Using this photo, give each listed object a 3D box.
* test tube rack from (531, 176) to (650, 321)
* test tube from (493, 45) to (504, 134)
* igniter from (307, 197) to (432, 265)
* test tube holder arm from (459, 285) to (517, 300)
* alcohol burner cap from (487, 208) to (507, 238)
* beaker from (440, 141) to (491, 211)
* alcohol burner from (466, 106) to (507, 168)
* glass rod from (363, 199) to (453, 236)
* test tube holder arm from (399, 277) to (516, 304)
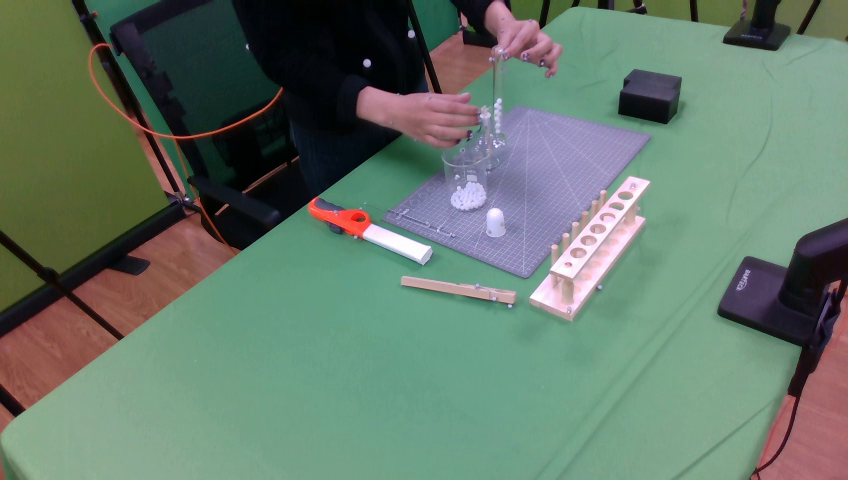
[{"bbox_3d":[0.246,0.002,0.884,0.066,0.085,0.243,22,49,32],"label":"test tube rack"},{"bbox_3d":[0.118,-0.236,0.964,0.017,0.151,0.017,-3,41,3],"label":"test tube"},{"bbox_3d":[-0.102,-0.020,1.019,0.274,0.025,0.057,23,60,32],"label":"igniter"},{"bbox_3d":[0.091,0.078,0.877,0.087,0.015,0.010,7,8,19],"label":"test tube holder arm"},{"bbox_3d":[0.116,-0.030,0.975,0.034,0.048,0.033,-6,40,5],"label":"alcohol burner cap"},{"bbox_3d":[0.074,-0.106,1.028,0.084,0.101,0.073,-2,41,8],"label":"beaker"},{"bbox_3d":[0.115,-0.193,1.112,0.078,0.119,0.077,-4,41,4],"label":"alcohol burner"},{"bbox_3d":[-0.031,-0.041,1.042,0.198,0.008,0.008,22,50,32],"label":"glass rod"},{"bbox_3d":[0.047,0.073,0.886,0.177,0.015,0.013,7,8,18],"label":"test tube holder arm"}]
